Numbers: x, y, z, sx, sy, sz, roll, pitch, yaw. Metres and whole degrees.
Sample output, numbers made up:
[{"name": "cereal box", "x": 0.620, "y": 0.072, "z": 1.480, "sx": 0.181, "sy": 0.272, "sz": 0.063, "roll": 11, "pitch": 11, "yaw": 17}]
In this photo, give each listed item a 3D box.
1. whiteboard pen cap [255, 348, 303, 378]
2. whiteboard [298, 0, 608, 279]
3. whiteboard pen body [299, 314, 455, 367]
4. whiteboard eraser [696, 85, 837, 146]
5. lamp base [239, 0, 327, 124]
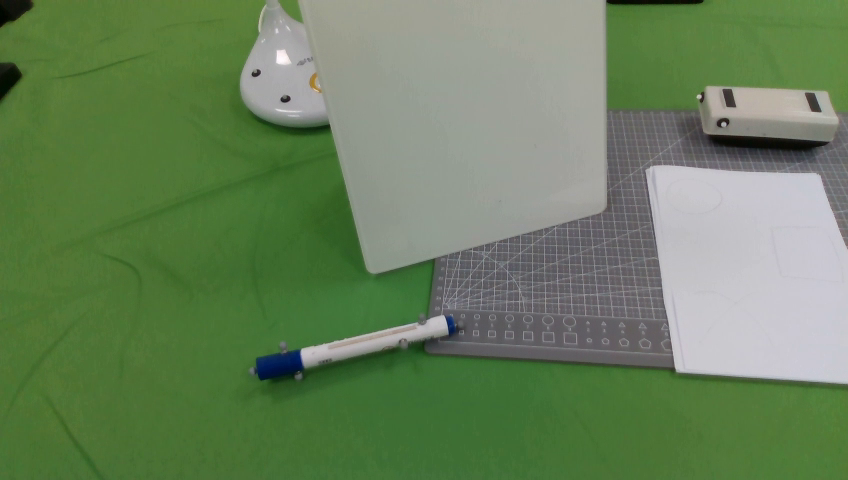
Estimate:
[{"name": "whiteboard pen cap", "x": -0.104, "y": 0.088, "z": 0.438, "sx": 0.033, "sy": 0.018, "sz": 0.018, "roll": -11, "pitch": 49, "yaw": -10}, {"name": "whiteboard", "x": 0.017, "y": -0.156, "z": 0.495, "sx": 0.217, "sy": 0.308, "sz": 0.142, "roll": -15, "pitch": 30, "yaw": -7}, {"name": "whiteboard pen body", "x": -0.046, "y": 0.077, "z": 0.446, "sx": 0.141, "sy": 0.017, "sz": 0.017, "roll": -12, "pitch": 49, "yaw": -8}, {"name": "whiteboard eraser", "x": 0.318, "y": -0.117, "z": 0.570, "sx": 0.112, "sy": 0.042, "sz": 0.055, "roll": 5, "pitch": 51, "yaw": 9}, {"name": "lamp base", "x": -0.138, "y": -0.239, "z": 0.622, "sx": 0.160, "sy": 0.182, "sz": 0.177, "roll": -36, "pitch": 53, "yaw": -24}]
